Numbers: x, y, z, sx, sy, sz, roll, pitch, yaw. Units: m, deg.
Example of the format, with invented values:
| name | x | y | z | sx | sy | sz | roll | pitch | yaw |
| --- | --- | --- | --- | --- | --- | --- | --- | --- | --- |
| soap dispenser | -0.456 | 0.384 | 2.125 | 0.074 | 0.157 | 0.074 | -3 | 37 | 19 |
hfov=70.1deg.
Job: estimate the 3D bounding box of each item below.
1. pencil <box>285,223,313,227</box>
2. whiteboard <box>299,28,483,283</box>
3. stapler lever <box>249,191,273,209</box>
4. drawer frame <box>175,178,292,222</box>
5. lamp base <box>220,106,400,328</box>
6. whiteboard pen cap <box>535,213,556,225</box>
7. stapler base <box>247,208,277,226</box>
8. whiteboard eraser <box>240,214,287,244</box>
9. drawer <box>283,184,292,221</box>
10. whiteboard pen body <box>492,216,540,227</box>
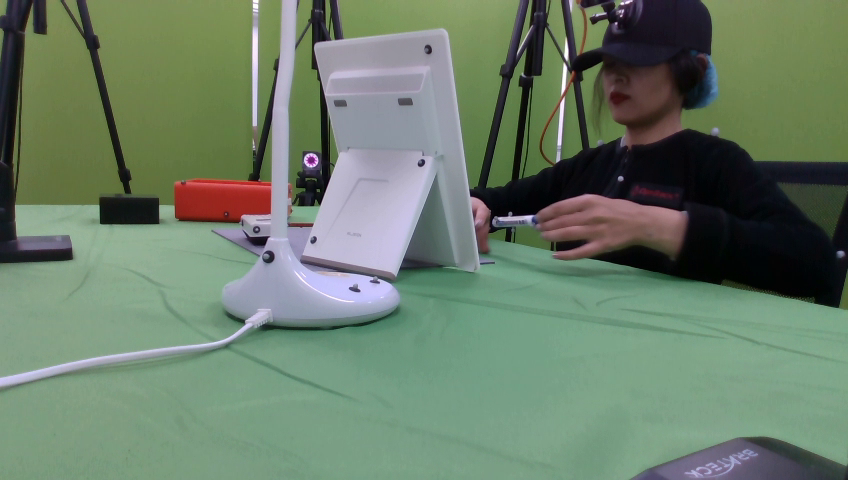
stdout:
| name | x | y | z | sx | sy | sz | roll | pitch | yaw |
| --- | --- | --- | --- | --- | --- | --- | --- | --- | --- |
| pencil | -0.234 | -0.030 | 1.198 | 0.195 | 0.012 | 0.012 | 0 | 8 | -20 |
| whiteboard | -0.075 | -0.082 | 0.741 | 0.216 | 0.305 | 0.144 | 9 | 30 | 38 |
| stapler lever | -0.352 | -0.086 | 1.306 | 0.027 | 0.040 | 0.118 | 0 | 5 | -3 |
| drawer frame | -0.402 | -0.087 | 1.311 | 0.214 | 0.082 | 0.201 | 1 | 8 | -9 |
| lamp base | -0.101 | -0.023 | 0.531 | 0.160 | 0.180 | 0.179 | 4 | 10 | 10 |
| whiteboard pen cap | 0.170 | -0.029 | 0.854 | 0.018 | 0.018 | 0.033 | -2 | -1 | -29 |
| stapler base | -0.350 | -0.054 | 1.310 | 0.041 | 0.024 | 0.130 | 0 | 13 | -3 |
| whiteboard eraser | -0.256 | -0.018 | 0.958 | 0.056 | 0.042 | 0.112 | 0 | 8 | -25 |
| drawer | -0.397 | -0.086 | 1.314 | 0.212 | 0.073 | 0.194 | 1 | 8 | -9 |
| whiteboard pen body | 0.144 | -0.027 | 0.909 | 0.017 | 0.017 | 0.140 | -1 | 2 | -24 |
